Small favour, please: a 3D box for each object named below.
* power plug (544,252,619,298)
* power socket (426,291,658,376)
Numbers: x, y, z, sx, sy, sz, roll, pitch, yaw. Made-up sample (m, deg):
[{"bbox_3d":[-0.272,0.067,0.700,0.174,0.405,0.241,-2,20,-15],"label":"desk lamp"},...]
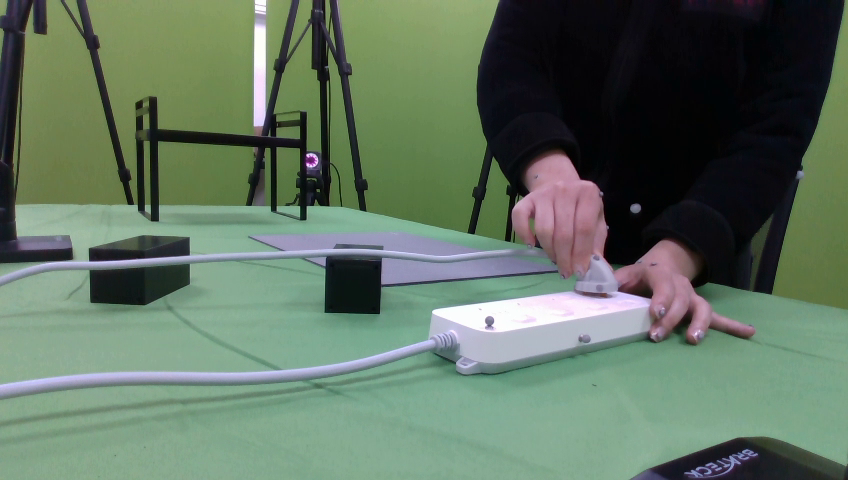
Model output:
[{"bbox_3d":[0.144,0.038,0.547,0.035,0.052,0.072,-2,6,-26],"label":"power plug"},{"bbox_3d":[0.101,0.067,0.481,0.228,0.032,0.072,-3,9,-37],"label":"power socket"}]
